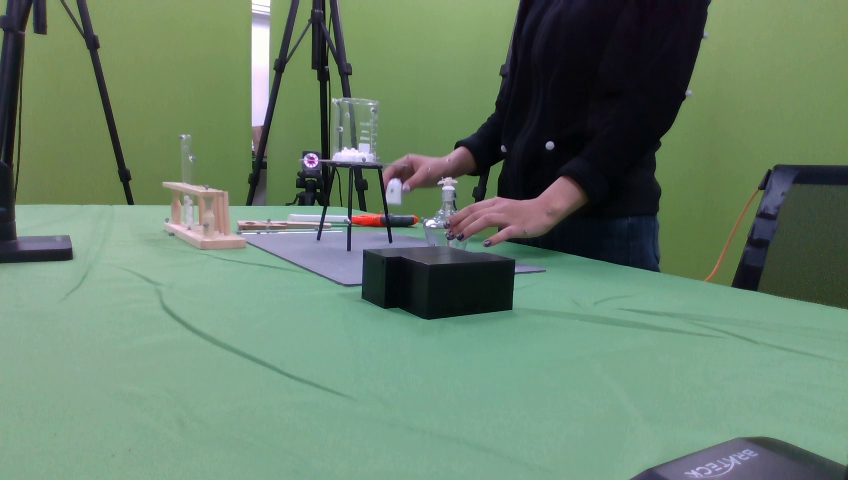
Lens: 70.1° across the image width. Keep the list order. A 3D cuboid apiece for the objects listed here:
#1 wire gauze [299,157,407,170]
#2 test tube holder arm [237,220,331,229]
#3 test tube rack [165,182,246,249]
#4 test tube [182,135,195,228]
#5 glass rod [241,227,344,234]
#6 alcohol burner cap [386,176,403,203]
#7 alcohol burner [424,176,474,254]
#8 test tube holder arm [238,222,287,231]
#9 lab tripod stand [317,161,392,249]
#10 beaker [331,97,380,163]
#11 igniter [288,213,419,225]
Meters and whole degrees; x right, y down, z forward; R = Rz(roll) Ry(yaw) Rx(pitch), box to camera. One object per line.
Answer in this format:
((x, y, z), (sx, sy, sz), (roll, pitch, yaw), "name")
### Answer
((-0.112, -0.124, 0.959), (0.121, 0.011, 0.126), (13, 12, 40), "wire gauze")
((-0.260, -0.028, 1.140), (0.179, 0.015, 0.013), (-1, 41, -32), "test tube holder arm")
((-0.360, -0.045, 0.982), (0.067, 0.085, 0.241), (-3, 9, -34), "test tube rack")
((-0.382, -0.095, 0.983), (0.017, 0.150, 0.017), (-1, 2, 0), "test tube")
((-0.239, -0.019, 1.118), (0.201, 0.008, 0.008), (-3, 9, -33), "glass rod")
((-0.054, -0.093, 1.098), (0.034, 0.048, 0.034), (4, -1, 0), "alcohol burner cap")
((0.038, -0.038, 0.930), (0.078, 0.119, 0.078), (1, 8, 0), "alcohol burner")
((-0.296, -0.024, 1.112), (0.088, 0.015, 0.010), (-1, 41, -32), "test tube holder arm")
((-0.111, -0.059, 0.963), (0.148, 0.131, 0.148), (4, 8, 0), "lab tripod stand")
((-0.111, -0.171, 0.950), (0.073, 0.100, 0.084), (12, 12, 42), "beaker")
((-0.145, -0.044, 1.278), (0.278, 0.025, 0.057), (-1, -2, -21), "igniter")
